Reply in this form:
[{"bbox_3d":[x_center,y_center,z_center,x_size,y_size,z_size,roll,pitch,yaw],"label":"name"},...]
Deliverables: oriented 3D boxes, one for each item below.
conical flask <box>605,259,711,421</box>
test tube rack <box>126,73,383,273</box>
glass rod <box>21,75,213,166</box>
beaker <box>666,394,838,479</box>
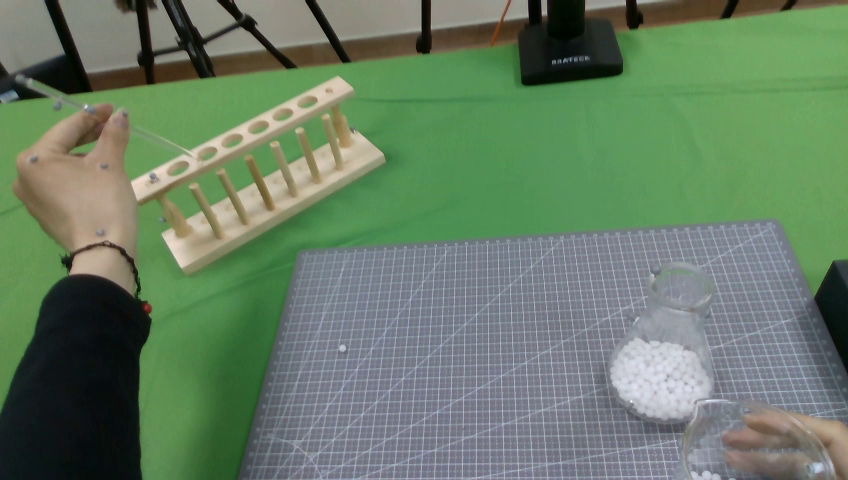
[{"bbox_3d":[0.165,0.065,0.413,0.075,0.123,0.074,-6,48,7],"label":"conical flask"},{"bbox_3d":[-0.168,-0.074,0.634,0.242,0.086,0.066,-33,50,-17],"label":"test tube rack"},{"bbox_3d":[-0.249,-0.096,0.522,0.008,0.201,0.008,-4,77,20],"label":"glass rod"},{"bbox_3d":[0.179,0.146,0.355,0.074,0.101,0.083,-23,48,-9],"label":"beaker"}]
